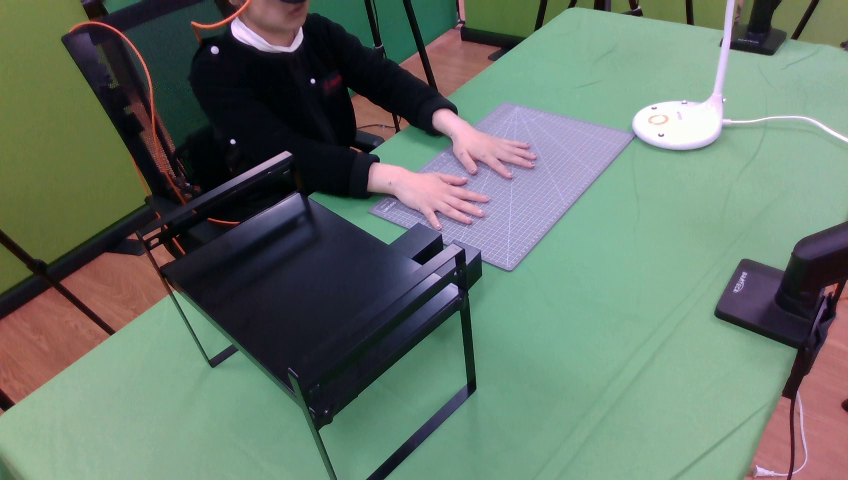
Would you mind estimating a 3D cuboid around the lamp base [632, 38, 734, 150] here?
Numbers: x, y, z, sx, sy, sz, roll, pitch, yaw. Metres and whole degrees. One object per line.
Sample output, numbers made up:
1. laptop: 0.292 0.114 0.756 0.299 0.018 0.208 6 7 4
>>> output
1. lamp base: 0.486 -0.280 1.108 0.179 0.181 0.159 -5 41 -1
